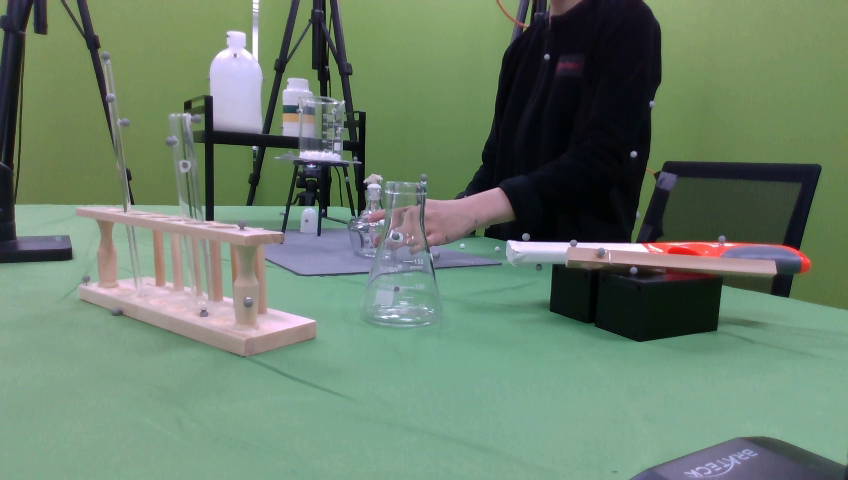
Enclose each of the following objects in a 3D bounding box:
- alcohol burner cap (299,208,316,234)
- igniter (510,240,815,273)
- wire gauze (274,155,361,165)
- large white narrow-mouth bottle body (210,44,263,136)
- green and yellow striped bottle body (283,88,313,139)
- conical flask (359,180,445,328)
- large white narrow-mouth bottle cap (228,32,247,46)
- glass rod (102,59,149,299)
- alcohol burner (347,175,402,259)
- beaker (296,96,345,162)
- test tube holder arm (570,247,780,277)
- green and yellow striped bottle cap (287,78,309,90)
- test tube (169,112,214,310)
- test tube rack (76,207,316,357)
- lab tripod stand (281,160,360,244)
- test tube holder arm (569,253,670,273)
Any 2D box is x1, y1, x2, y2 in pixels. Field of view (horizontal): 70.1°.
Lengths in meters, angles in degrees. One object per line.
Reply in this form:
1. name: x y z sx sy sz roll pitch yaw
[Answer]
1. alcohol burner cap: -0.213 -0.035 1.109 0.034 0.048 0.034 3 7 0
2. igniter: 0.220 0.015 0.565 0.277 0.025 0.057 2 16 0
3. wire gauze: -0.174 -0.129 0.978 0.125 0.011 0.121 -2 6 -19
4. large white narrow-mouth bottle body: -0.369 -0.305 1.194 0.102 0.194 0.102 3 8 0
5. green and yellow striped bottle body: -0.266 -0.275 1.275 0.063 0.119 0.063 3 7 0
6. conical flask: -0.017 0.010 0.522 0.075 0.122 0.075 2 8 0
7. large white narrow-mouth bottle cap: -0.364 -0.390 1.180 0.038 0.024 0.037 3 8 0
8. glass rod: -0.244 -0.045 0.496 0.008 0.199 0.008 -3 12 1
9. alcohol burner: -0.071 -0.034 0.867 0.078 0.119 0.078 0 6 0
10. beaker: -0.163 -0.175 0.966 0.083 0.100 0.074 7 8 34
11. test tube holder arm: 0.217 0.019 0.525 0.178 0.015 0.013 3 -23 3
12. green and yellow striped bottle cap: -0.265 -0.326 1.268 0.045 0.020 0.045 4 6 0
13. test tube: -0.175 -0.020 0.455 0.017 0.150 0.017 -3 9 1
14. test tube rack: -0.196 0.023 0.500 0.241 0.085 0.067 8 9 36
15. lab tripod stand: -0.170 -0.063 0.983 0.148 0.131 0.148 1 6 0
16. test tube holder arm: 0.172 0.019 0.532 0.088 0.015 0.010 3 -23 3
